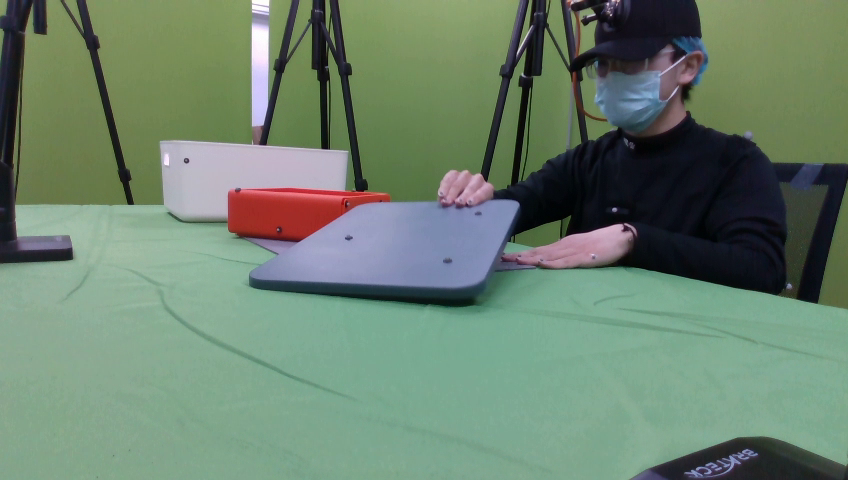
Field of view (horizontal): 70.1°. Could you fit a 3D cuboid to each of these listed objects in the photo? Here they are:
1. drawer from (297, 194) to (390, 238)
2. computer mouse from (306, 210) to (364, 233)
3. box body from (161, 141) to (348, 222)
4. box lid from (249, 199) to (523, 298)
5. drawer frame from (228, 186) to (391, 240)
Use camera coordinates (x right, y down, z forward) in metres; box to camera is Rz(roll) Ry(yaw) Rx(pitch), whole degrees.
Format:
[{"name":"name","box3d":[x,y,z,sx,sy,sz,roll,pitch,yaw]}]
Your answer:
[{"name":"drawer","box3d":[-0.189,-0.047,1.061,0.211,0.073,0.195,4,8,18]},{"name":"computer mouse","box3d":[-0.153,-0.032,1.052,0.062,0.041,0.117,1,0,18]},{"name":"box body","box3d":[-0.379,-0.132,1.352,0.366,0.160,0.253,-2,8,-30]},{"name":"box lid","box3d":[-0.022,-0.003,0.770,0.263,0.015,0.372,0,17,15]},{"name":"drawer frame","box3d":[-0.193,-0.050,1.061,0.213,0.082,0.202,4,8,17]}]
